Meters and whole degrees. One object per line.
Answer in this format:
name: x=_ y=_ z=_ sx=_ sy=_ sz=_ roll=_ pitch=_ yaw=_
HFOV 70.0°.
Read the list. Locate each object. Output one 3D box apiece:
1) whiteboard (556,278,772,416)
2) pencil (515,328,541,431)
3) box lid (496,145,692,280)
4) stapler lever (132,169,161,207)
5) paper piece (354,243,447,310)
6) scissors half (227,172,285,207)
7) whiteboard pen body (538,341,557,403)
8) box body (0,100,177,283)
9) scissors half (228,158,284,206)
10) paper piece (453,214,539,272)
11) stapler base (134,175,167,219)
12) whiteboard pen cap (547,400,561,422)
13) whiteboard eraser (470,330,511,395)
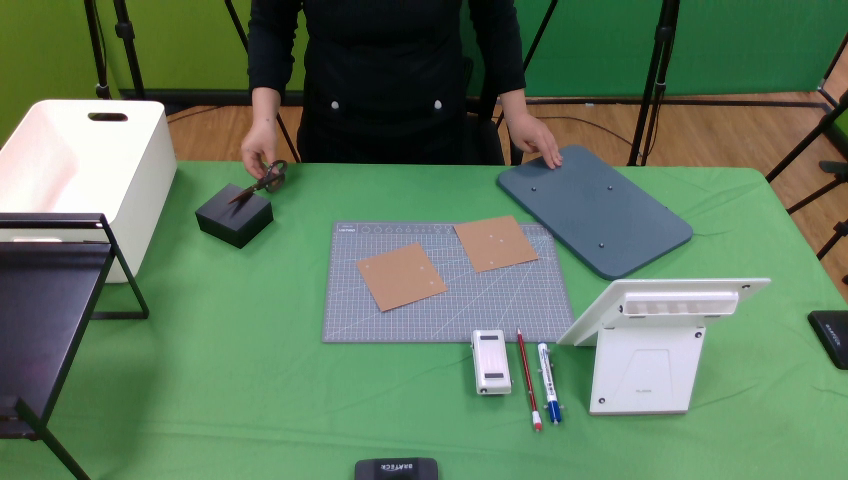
whiteboard: x=0.347 y=0.174 z=0.903 sx=0.217 sy=0.306 sz=0.143 roll=1 pitch=65 yaw=-4
pencil: x=0.169 y=0.224 z=1.002 sx=0.012 sy=0.012 sz=0.192 roll=-2 pitch=46 yaw=-6
box lid: x=0.360 y=-0.074 z=1.305 sx=0.263 sy=0.015 sz=0.369 roll=-24 pitch=52 yaw=-25
stapler lever: x=-0.558 y=-0.113 z=1.218 sx=0.027 sy=0.040 sz=0.117 roll=0 pitch=42 yaw=-8
paper piece: x=-0.045 y=0.066 z=1.137 sx=0.136 sy=0.009 sz=0.137 roll=-13 pitch=46 yaw=-23
scissors half: x=-0.338 y=-0.100 z=1.231 sx=0.013 sy=0.040 sz=0.175 roll=13 pitch=27 yaw=22
whiteboard pen body: x=0.205 y=0.228 z=0.997 sx=0.017 sy=0.017 sz=0.140 roll=1 pitch=46 yaw=-3
box body: x=-0.639 y=-0.095 z=1.140 sx=0.254 sy=0.161 sz=0.361 roll=1 pitch=46 yaw=-4
scissors half: x=-0.337 y=-0.116 z=1.219 sx=0.013 sy=0.040 sz=0.174 roll=18 pitch=45 yaw=18
paper piece: x=0.142 y=0.003 z=1.213 sx=0.135 sy=0.004 sz=0.135 roll=-11 pitch=47 yaw=-14
stapler base: x=-0.559 y=-0.093 z=1.234 sx=0.041 sy=0.024 sz=0.129 roll=0 pitch=43 yaw=-8
whiteboard pen cap: x=0.205 y=0.269 z=0.956 sx=0.018 sy=0.018 sz=0.033 roll=0 pitch=47 yaw=-5
whiteboard eraser: x=0.109 y=0.202 z=0.998 sx=0.055 sy=0.042 sz=0.112 roll=1 pitch=46 yaw=-5
